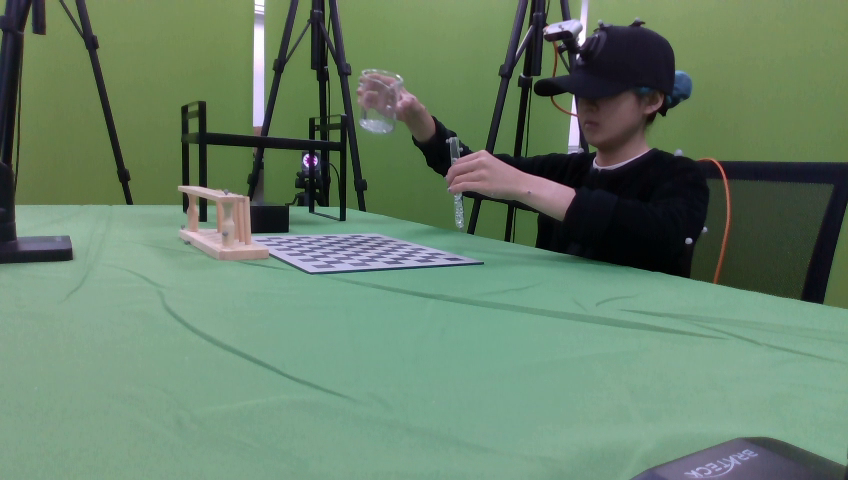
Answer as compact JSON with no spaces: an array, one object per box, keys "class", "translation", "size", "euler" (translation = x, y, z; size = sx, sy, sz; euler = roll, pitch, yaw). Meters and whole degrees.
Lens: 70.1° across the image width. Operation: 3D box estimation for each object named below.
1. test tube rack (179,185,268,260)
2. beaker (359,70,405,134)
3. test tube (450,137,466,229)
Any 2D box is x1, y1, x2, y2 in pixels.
[{"class":"test tube rack","translation":[-0.303,-0.031,0.898],"size":[0.067,0.085,0.241],"euler":[-2,9,-33]},{"class":"beaker","translation":[-0.078,-0.250,1.107],"size":[0.074,0.100,0.083],"euler":[-2,32,-23]},{"class":"test tube","translation":[0.055,-0.093,0.990],"size":[0.017,0.150,0.017],"euler":[-4,3,1]}]
